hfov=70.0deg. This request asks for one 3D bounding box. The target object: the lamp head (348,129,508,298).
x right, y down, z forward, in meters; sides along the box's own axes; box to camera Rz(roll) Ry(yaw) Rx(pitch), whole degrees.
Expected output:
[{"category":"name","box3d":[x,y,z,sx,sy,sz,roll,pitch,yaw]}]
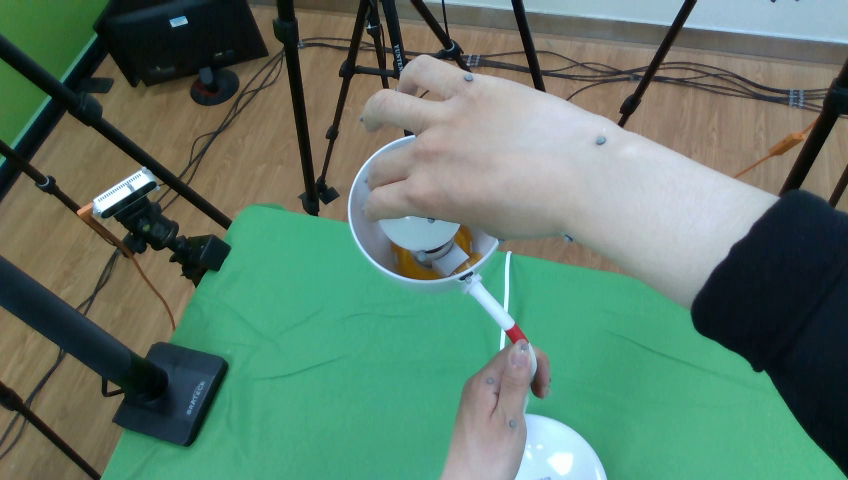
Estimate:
[{"category":"lamp head","box3d":[0.008,-0.006,0.466,0.112,0.124,0.111,-2,68,6]}]

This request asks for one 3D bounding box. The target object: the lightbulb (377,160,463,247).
[{"category":"lightbulb","box3d":[-0.001,-0.018,0.438,0.059,0.108,0.059,-1,73,4]}]

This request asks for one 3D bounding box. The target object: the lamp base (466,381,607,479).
[{"category":"lamp base","box3d":[0.115,0.230,0.638,0.161,0.182,0.177,-24,57,-7]}]
